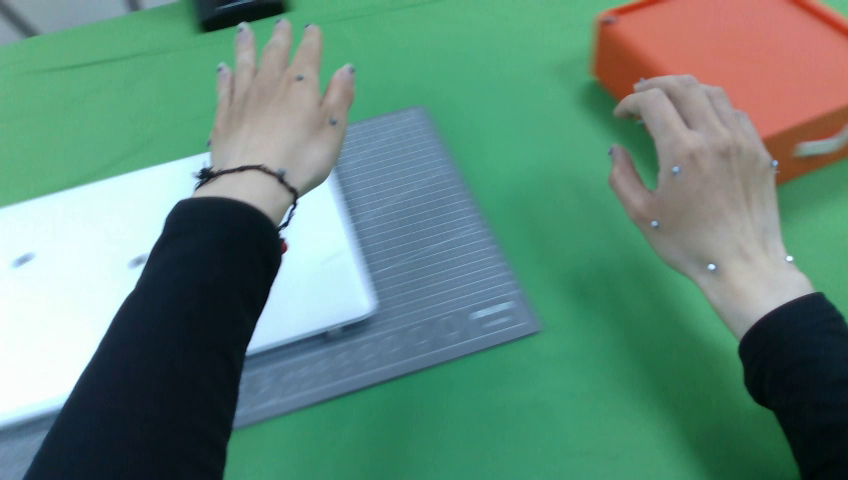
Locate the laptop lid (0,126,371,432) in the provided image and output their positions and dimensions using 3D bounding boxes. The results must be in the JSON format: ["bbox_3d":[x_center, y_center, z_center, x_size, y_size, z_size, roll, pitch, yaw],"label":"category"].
[{"bbox_3d":[-0.239,0.021,0.516,0.357,0.013,0.239,-15,54,-6],"label":"laptop lid"}]

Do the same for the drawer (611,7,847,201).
[{"bbox_3d":[0.308,-0.154,0.571,0.195,0.074,0.209,-21,52,-9],"label":"drawer"}]

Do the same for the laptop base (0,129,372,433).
[{"bbox_3d":[-0.239,0.026,0.527,0.355,0.023,0.233,-17,55,-7],"label":"laptop base"}]

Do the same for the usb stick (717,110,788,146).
[{"bbox_3d":[0.303,-0.102,0.553,0.059,0.027,0.021,-2,57,4],"label":"usb stick"}]

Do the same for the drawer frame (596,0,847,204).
[{"bbox_3d":[0.307,-0.156,0.571,0.202,0.083,0.211,-21,52,-10],"label":"drawer frame"}]
